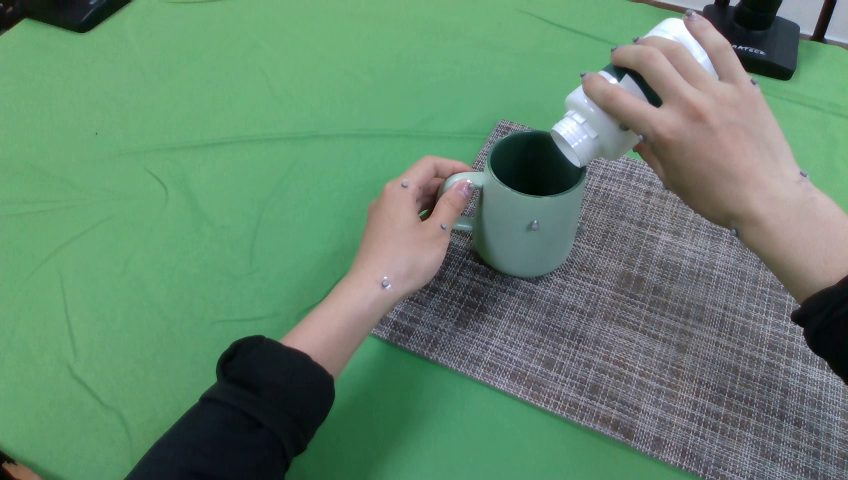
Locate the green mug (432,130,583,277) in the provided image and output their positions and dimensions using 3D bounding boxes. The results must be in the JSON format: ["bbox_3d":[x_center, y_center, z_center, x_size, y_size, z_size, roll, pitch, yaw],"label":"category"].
[{"bbox_3d":[0.069,-0.029,0.518,0.125,0.106,0.091,-1,52,-1],"label":"green mug"}]

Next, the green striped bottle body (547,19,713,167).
[{"bbox_3d":[0.152,-0.107,0.464,0.119,0.064,0.062,-38,57,2],"label":"green striped bottle body"}]
